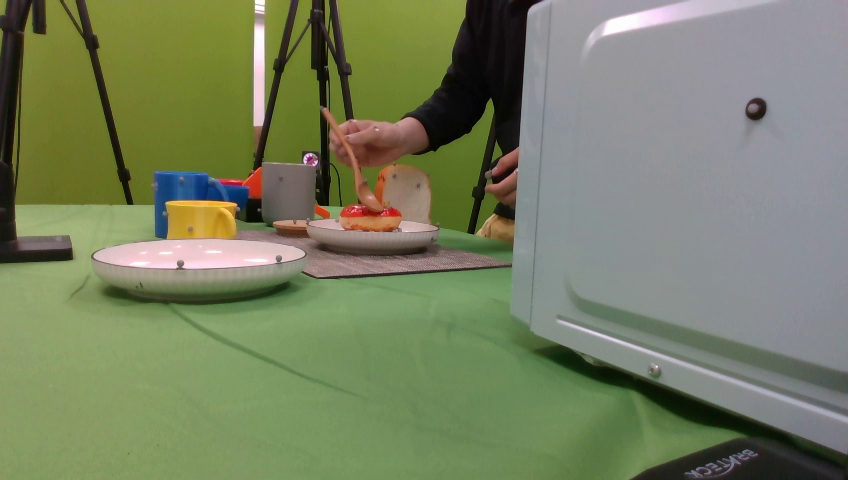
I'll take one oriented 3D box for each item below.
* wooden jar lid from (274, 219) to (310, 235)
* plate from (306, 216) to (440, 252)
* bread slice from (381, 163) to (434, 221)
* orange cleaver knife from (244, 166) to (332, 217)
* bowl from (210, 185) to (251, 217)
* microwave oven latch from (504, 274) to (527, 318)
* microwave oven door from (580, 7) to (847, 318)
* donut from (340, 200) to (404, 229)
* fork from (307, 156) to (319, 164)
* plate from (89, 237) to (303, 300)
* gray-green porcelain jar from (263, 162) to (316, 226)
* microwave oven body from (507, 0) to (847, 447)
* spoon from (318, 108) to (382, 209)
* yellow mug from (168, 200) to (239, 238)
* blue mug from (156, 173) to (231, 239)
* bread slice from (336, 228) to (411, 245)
[{"bbox_3d":[-0.213,-0.023,1.080,0.108,0.020,0.108,3,7,0],"label":"wooden jar lid"},{"bbox_3d":[-0.079,-0.011,0.949,0.209,0.038,0.209,2,8,0],"label":"plate"},{"bbox_3d":[-0.034,-0.076,1.124,0.107,0.134,0.018,-4,0,-26],"label":"bread slice"},{"bbox_3d":[-0.301,-0.089,1.351,0.212,0.077,0.012,32,-11,-34],"label":"orange cleaver knife"},{"bbox_3d":[-0.408,-0.064,1.155,0.151,0.077,0.151,2,8,0],"label":"bowl"},{"bbox_3d":[0.100,0.041,0.471,0.079,0.029,0.030,-1,8,-28],"label":"microwave oven latch"},{"bbox_3d":[0.295,-0.067,0.570,0.358,0.243,0.039,-3,8,-31],"label":"microwave oven door"},{"bbox_3d":[-0.081,-0.038,0.944,0.099,0.048,0.099,0,7,0],"label":"donut"},{"bbox_3d":[-0.331,-0.144,1.506,0.207,0.018,0.028,-42,-20,22],"label":"fork"},{"bbox_3d":[-0.233,0.029,0.637,0.208,0.039,0.207,2,7,0],"label":"plate"},{"bbox_3d":[-0.271,-0.092,1.217,0.106,0.126,0.106,2,7,0],"label":"gray-green porcelain jar"},{"bbox_3d":[0.331,-0.042,0.425,0.444,0.260,0.324,-2,8,-31],"label":"microwave oven body"},{"bbox_3d":[-0.114,-0.125,0.916,0.021,0.193,0.042,-35,-17,30],"label":"spoon"},{"bbox_3d":[-0.319,-0.023,0.904,0.130,0.064,0.100,9,11,36],"label":"yellow mug"},{"bbox_3d":[-0.381,-0.057,1.004,0.117,0.106,0.082,0,8,-12],"label":"blue mug"},{"bbox_3d":[-0.074,-0.006,0.938,0.105,0.019,0.131,-2,5,-18],"label":"bread slice"}]
